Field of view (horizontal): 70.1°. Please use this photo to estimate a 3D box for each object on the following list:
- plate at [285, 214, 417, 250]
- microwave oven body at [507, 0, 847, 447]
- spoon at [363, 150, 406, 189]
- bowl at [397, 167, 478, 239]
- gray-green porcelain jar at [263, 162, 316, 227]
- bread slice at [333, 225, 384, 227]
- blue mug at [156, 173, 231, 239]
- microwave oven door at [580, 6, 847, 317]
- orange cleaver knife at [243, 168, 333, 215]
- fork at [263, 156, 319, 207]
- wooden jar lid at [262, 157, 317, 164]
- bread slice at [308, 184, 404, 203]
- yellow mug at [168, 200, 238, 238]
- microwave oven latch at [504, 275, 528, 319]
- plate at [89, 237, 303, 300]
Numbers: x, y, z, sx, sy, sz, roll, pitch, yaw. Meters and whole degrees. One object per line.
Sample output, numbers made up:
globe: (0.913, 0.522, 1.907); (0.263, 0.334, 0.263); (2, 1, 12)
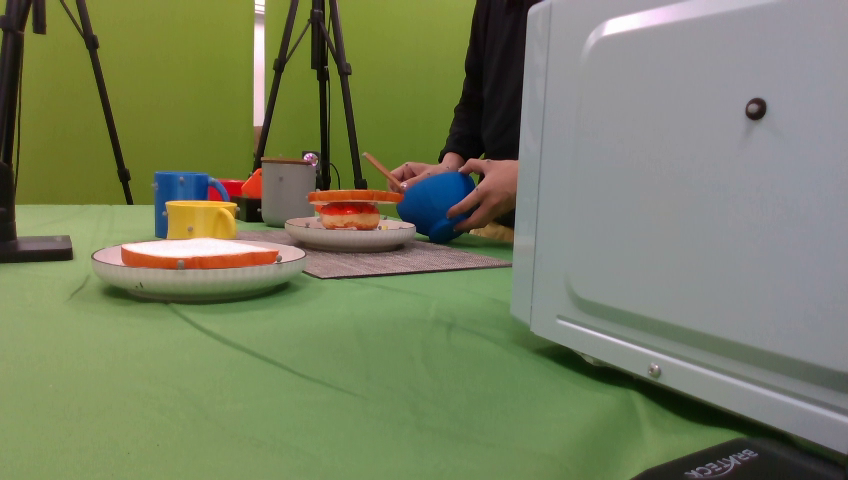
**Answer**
plate: (-0.116, -0.014, 0.964); (0.209, 0.038, 0.209); (2, 7, 0)
microwave oven body: (0.331, -0.042, 0.425); (0.444, 0.260, 0.324); (-2, 8, -31)
spoon: (-0.039, -0.094, 1.095); (0.021, 0.194, 0.042); (-36, 8, 42)
bowl: (0.034, -0.053, 1.068); (0.152, 0.076, 0.151); (-18, -24, -8)
gray-green porcelain jar: (-0.271, -0.092, 1.217); (0.106, 0.126, 0.106); (2, 7, 0)
bread slice: (-0.103, -0.010, 0.961); (0.131, 0.019, 0.105); (3, 8, 24)
blue mug: (-0.381, -0.057, 1.004); (0.117, 0.106, 0.082); (0, 8, -12)
microwave oven door: (0.295, -0.067, 0.570); (0.358, 0.243, 0.039); (-3, 9, -31)
orange cleaver knife: (-0.300, -0.089, 1.351); (0.212, 0.077, 0.012); (29, -9, -34)
fork: (-0.331, -0.144, 1.505); (0.207, 0.018, 0.028); (-42, -21, 22)
wooden jar lid: (-0.269, -0.154, 1.208); (0.108, 0.020, 0.108); (3, 4, 0)
bread slice: (-0.114, -0.072, 0.954); (0.134, 0.018, 0.107); (-3, -1, 21)
yellow mug: (-0.320, -0.023, 0.904); (0.130, 0.064, 0.100); (9, 10, 36)
microwave oven latch: (0.100, 0.041, 0.470); (0.079, 0.029, 0.030); (-1, 7, -27)
plate: (-0.233, 0.029, 0.637); (0.208, 0.039, 0.207); (2, 7, 0)
